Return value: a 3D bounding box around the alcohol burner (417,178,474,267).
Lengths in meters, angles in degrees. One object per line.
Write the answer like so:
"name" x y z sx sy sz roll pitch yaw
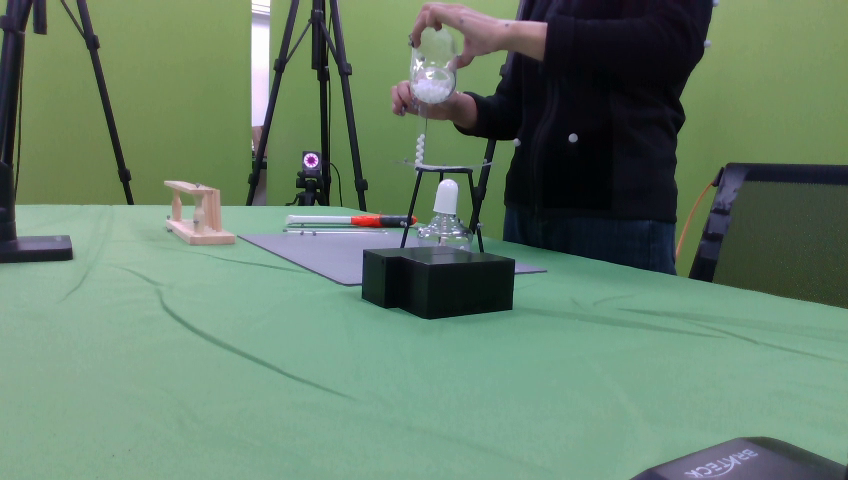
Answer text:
"alcohol burner" 0.029 -0.024 0.810 0.078 0.119 0.078 1 8 0

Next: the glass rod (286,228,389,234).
"glass rod" -0.154 -0.016 1.101 0.201 0.008 0.008 1 6 -31

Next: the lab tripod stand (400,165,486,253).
"lab tripod stand" 0.027 -0.049 0.930 0.148 0.131 0.148 2 9 0

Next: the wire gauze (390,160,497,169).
"wire gauze" 0.027 -0.115 0.919 0.122 0.011 0.124 -4 10 -34

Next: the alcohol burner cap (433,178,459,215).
"alcohol burner cap" 0.031 -0.059 0.806 0.034 0.048 0.034 9 9 -1

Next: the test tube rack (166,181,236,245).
"test tube rack" -0.383 -0.051 1.024 0.067 0.085 0.241 -2 9 -31

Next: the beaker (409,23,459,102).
"beaker" 0.013 -0.261 0.904 0.074 0.084 0.100 11 49 -12

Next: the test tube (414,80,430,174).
"test tube" -0.003 -0.181 0.974 0.017 0.150 0.017 5 16 -1

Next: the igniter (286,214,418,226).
"igniter" -0.146 -0.043 1.263 0.278 0.025 0.057 -1 -2 -24
